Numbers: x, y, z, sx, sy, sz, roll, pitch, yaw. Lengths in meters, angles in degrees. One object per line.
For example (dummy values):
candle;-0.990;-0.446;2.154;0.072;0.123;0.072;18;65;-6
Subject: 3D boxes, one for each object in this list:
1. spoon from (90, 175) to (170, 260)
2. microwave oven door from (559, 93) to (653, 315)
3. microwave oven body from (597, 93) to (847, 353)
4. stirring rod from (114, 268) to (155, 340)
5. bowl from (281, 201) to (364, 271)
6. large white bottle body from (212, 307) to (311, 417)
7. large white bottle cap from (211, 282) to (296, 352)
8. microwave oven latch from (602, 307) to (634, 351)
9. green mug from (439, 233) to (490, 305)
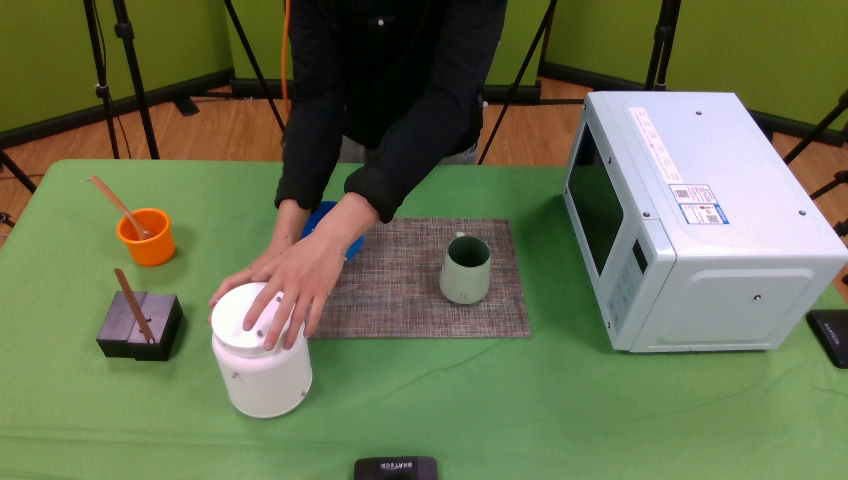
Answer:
spoon;-0.539;-0.042;1.111;0.021;0.194;0.041;-15;25;51
microwave oven door;0.327;-0.074;1.123;0.039;0.245;0.353;-1;46;-5
microwave oven body;0.475;-0.041;1.109;0.326;0.261;0.438;-1;45;-4
stirring rod;-0.479;0.102;0.999;0.014;0.006;0.175;8;32;-50
bowl;-0.187;0.005;1.137;0.151;0.077;0.150;3;46;-3
large white bottle body;-0.241;0.165;0.908;0.131;0.185;0.130;2;46;-2
large white bottle cap;-0.237;0.106;0.846;0.115;0.018;0.114;2;45;-2
microwave oven latch;0.332;0.153;1.044;0.030;0.029;0.078;-1;45;-4
green mug;0.072;0.044;1.101;0.092;0.105;0.124;-6;46;-9
